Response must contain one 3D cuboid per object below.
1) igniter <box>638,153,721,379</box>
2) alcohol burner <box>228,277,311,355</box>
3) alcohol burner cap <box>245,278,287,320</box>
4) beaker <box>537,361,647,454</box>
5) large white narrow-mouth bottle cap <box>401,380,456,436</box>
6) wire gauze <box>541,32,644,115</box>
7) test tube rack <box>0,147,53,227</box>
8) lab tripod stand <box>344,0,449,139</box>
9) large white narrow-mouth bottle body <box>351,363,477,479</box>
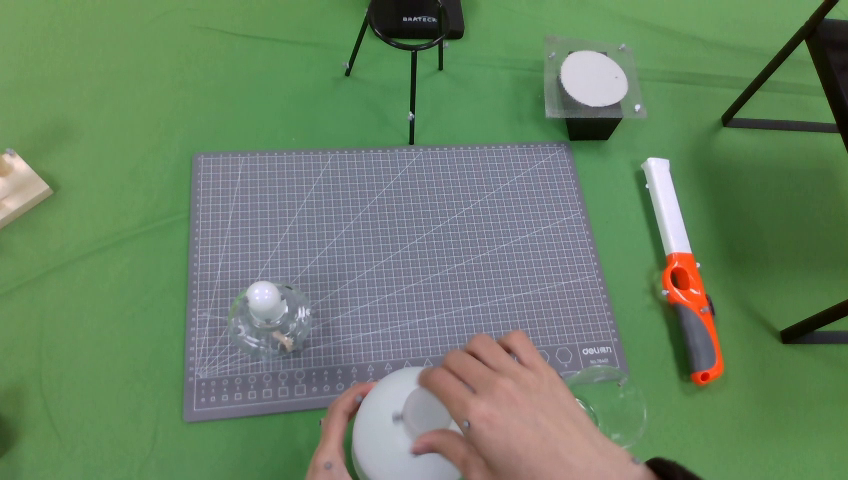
[{"bbox_3d":[0.292,0.022,0.697,0.057,0.025,0.274,3,65,-18],"label":"igniter"},{"bbox_3d":[-0.145,0.065,0.566,0.078,0.120,0.077,4,63,-8],"label":"alcohol burner"},{"bbox_3d":[-0.140,0.051,0.533,0.034,0.048,0.033,1,71,-4],"label":"alcohol burner cap"},{"bbox_3d":[0.151,0.161,0.575,0.084,0.101,0.073,27,65,6],"label":"beaker"},{"bbox_3d":[0.002,0.116,0.419,0.038,0.024,0.037,3,64,-6],"label":"large white narrow-mouth bottle cap"},{"bbox_3d":[0.204,-0.203,0.745,0.122,0.011,0.124,4,65,-6],"label":"wire gauze"},{"bbox_3d":[-0.496,-0.015,0.571,0.066,0.085,0.242,41,67,11],"label":"test tube rack"},{"bbox_3d":[-0.023,-0.213,0.703,0.149,0.132,0.147,4,66,-8],"label":"lab tripod stand"},{"bbox_3d":[-0.009,0.157,0.502,0.102,0.196,0.101,3,64,-6],"label":"large white narrow-mouth bottle body"}]
